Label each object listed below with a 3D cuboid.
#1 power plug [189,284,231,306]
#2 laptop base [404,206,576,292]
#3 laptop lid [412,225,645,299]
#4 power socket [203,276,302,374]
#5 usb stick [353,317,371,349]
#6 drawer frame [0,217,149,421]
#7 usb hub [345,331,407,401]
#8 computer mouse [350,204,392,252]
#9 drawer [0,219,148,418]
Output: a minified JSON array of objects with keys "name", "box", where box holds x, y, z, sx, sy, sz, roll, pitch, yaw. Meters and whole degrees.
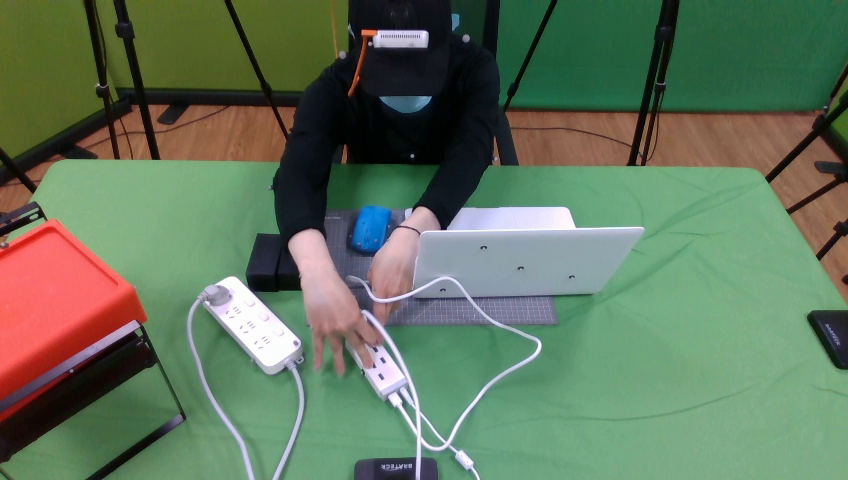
[{"name":"power plug","box":[-0.368,0.100,1.037,0.072,0.053,0.035,-24,54,-26]},{"name":"laptop base","box":[0.143,0.018,1.196,0.355,0.023,0.234,-1,43,-6]},{"name":"laptop lid","box":[0.161,0.042,1.012,0.357,0.242,0.013,0,59,-7]},{"name":"power socket","box":[-0.296,0.141,1.034,0.072,0.033,0.225,-34,58,-30]},{"name":"usb stick","box":[-0.101,0.157,0.993,0.027,0.059,0.021,-30,48,-35]},{"name":"drawer frame","box":[-0.510,0.093,0.780,0.201,0.083,0.213,31,52,23]},{"name":"usb hub","box":[-0.080,0.203,0.997,0.049,0.025,0.124,-24,52,-25]},{"name":"computer mouse","box":[-0.104,-0.027,1.202,0.063,0.041,0.116,12,51,3]},{"name":"drawer","box":[-0.509,0.093,0.783,0.193,0.073,0.211,32,53,24]}]
